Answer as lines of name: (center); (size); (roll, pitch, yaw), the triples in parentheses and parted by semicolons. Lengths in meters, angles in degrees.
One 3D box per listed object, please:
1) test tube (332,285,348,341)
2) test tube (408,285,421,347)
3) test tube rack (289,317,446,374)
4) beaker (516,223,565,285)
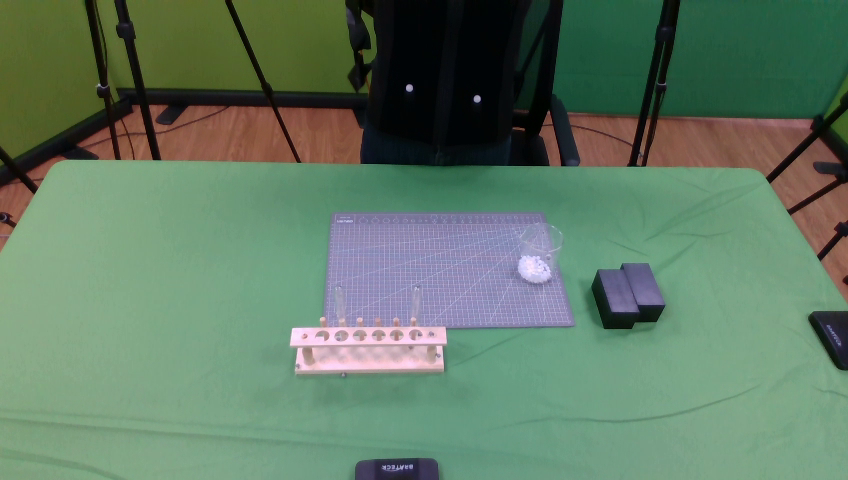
test tube: (-0.133, 0.122, 0.965); (0.017, 0.151, 0.017); (1, 47, 0)
test tube: (-0.016, 0.123, 0.973); (0.017, 0.151, 0.017); (3, 46, -2)
test tube rack: (-0.089, 0.167, 0.988); (0.242, 0.085, 0.066); (0, 46, -4)
beaker: (0.211, 0.029, 1.131); (0.084, 0.101, 0.073); (-1, 46, -4)
